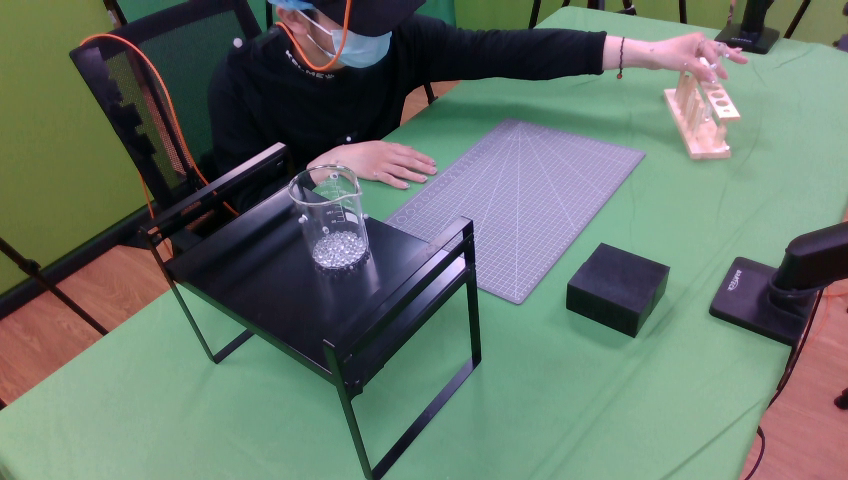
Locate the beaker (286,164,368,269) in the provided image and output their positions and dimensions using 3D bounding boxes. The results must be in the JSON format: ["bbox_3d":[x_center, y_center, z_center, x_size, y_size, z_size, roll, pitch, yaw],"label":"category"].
[{"bbox_3d":[-0.101,-0.024,0.676,0.083,0.101,0.074,8,43,17],"label":"beaker"}]

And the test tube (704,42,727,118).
[{"bbox_3d":[0.527,-0.286,1.096,0.017,0.151,0.017,-6,44,6],"label":"test tube"}]

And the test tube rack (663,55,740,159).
[{"bbox_3d":[0.518,-0.257,1.144,0.066,0.085,0.241,-1,41,8],"label":"test tube rack"}]
